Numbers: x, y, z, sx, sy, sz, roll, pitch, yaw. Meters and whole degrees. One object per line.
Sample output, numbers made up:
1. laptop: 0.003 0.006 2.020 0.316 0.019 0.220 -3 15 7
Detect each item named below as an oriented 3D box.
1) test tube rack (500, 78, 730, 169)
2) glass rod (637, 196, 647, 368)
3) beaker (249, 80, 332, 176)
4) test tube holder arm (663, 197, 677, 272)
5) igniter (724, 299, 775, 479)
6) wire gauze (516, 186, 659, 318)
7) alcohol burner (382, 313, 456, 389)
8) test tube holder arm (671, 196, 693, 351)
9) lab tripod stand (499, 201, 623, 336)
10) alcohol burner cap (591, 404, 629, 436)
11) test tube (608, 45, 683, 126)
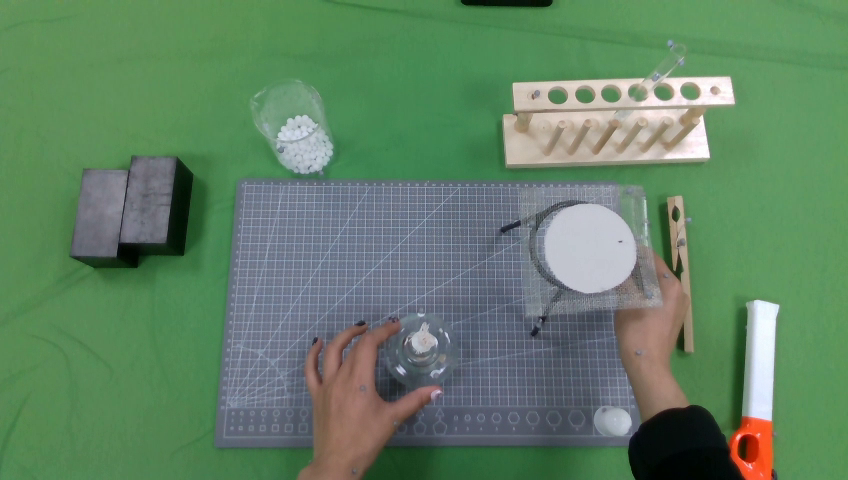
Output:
1. test tube rack: 0.215 -0.133 0.700 0.242 0.085 0.066 -2 74 -2
2. glass rod: 0.250 0.045 0.693 0.008 0.008 0.199 3 78 -1
3. beaker: -0.146 -0.121 0.680 0.084 0.101 0.073 18 74 5
4. test tube holder arm: 0.288 -0.007 0.703 0.010 0.015 0.087 -9 73 31
5. igniter: 0.347 0.199 0.643 0.057 0.025 0.275 13 75 -8
6. wire gauze: 0.148 0.008 0.562 0.121 0.011 0.124 -2 74 0
7. alcohol burner: -0.005 0.109 0.611 0.078 0.120 0.077 0 73 0
8. test tube holder arm: 0.292 0.036 0.689 0.013 0.015 0.177 -9 73 31
9. lab tripod stand: 0.137 0.021 0.628 0.148 0.132 0.147 0 75 1
10. alcohol burner cap: 0.196 0.187 0.632 0.034 0.048 0.033 0 74 -1
11. test tube: 0.235 -0.162 0.657 0.017 0.151 0.017 2 74 -7
